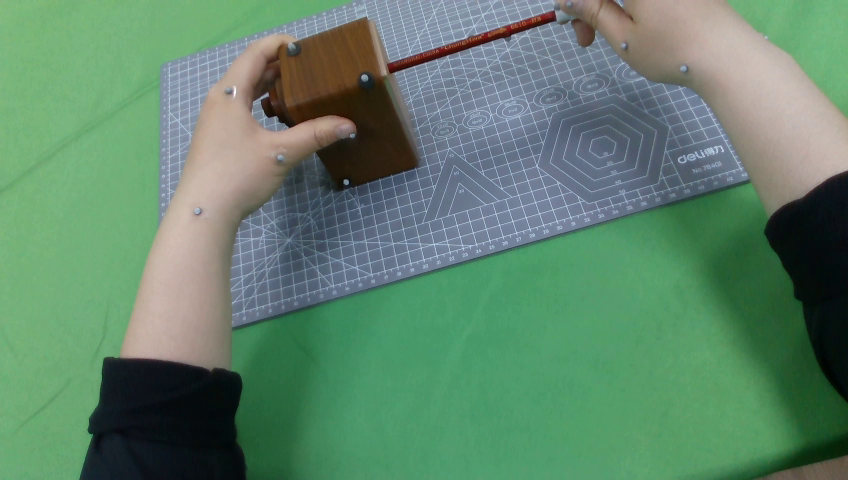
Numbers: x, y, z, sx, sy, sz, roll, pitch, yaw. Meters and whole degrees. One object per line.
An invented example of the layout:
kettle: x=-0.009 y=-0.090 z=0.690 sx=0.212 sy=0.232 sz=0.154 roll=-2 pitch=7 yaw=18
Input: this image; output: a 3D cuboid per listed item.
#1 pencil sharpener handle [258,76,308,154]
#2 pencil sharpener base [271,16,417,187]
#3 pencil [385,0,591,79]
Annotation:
pencil sharpener handle: x=-0.108 y=-0.087 z=0.441 sx=0.030 sy=0.068 sz=0.035 roll=-18 pitch=62 yaw=5
pencil sharpener base: x=-0.057 y=-0.097 z=0.448 sx=0.076 sy=0.108 sz=0.061 roll=-18 pitch=61 yaw=5
pencil: x=0.021 y=-0.133 z=0.417 sx=0.194 sy=0.012 sz=0.012 roll=-20 pitch=61 yaw=6
